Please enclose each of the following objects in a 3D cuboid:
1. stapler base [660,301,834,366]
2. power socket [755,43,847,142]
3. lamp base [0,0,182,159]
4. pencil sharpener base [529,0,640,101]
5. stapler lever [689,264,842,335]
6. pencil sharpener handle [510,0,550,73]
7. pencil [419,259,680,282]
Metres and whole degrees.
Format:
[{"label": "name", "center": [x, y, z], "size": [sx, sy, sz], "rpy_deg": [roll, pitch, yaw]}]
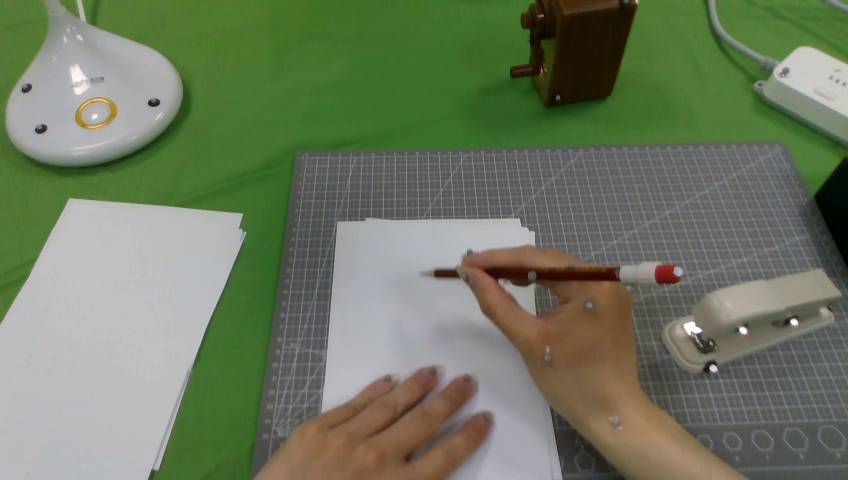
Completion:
[{"label": "stapler base", "center": [0.239, 0.054, 0.442], "size": [0.131, 0.024, 0.041], "rpy_deg": [-15, 58, -12]}, {"label": "power socket", "center": [0.423, -0.110, 0.553], "size": [0.072, 0.033, 0.225], "rpy_deg": [-37, 63, -23]}, {"label": "lamp base", "center": [-0.319, -0.189, 0.515], "size": [0.161, 0.182, 0.177], "rpy_deg": [-28, 57, -18]}, {"label": "pencil sharpener base", "center": [0.141, -0.190, 0.562], "size": [0.077, 0.108, 0.060], "rpy_deg": [-11, 56, -7]}, {"label": "stapler lever", "center": [0.240, 0.038, 0.422], "size": [0.118, 0.040, 0.026], "rpy_deg": [-15, 57, -11]}, {"label": "pencil sharpener handle", "center": [0.092, -0.183, 0.541], "size": [0.031, 0.068, 0.035], "rpy_deg": [-11, 34, -7]}, {"label": "pencil", "center": [0.059, 0.018, 0.363], "size": [0.193, 0.012, 0.012], "rpy_deg": [-3, 42, 49]}]
